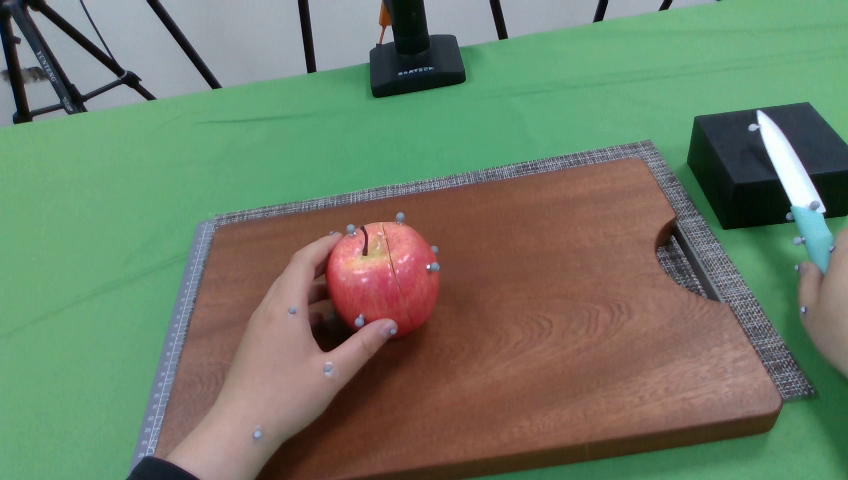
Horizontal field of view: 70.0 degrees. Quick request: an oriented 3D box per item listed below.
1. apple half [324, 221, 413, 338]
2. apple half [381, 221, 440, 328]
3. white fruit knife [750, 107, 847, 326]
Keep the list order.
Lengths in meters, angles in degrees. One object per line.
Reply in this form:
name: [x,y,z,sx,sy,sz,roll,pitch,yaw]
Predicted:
apple half: [-0.042,0.033,0.435,0.053,0.075,0.080,-18,47,0]
apple half: [-0.005,0.022,0.436,0.033,0.082,0.080,-18,43,-1]
white fruit knife: [0.291,-0.021,0.459,0.027,0.016,0.205,-11,62,2]
